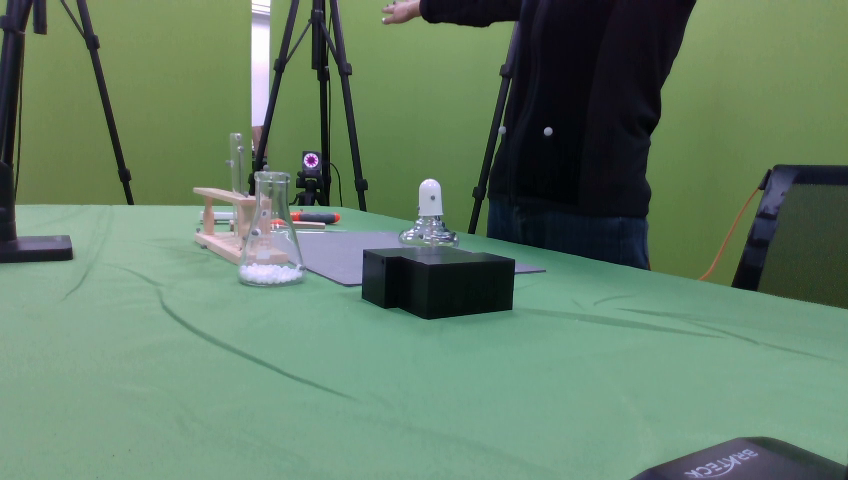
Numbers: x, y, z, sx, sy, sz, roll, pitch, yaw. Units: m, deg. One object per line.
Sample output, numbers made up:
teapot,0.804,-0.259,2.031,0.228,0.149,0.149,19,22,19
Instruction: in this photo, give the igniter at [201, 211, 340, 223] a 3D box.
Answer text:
igniter,-0.311,-0.047,1.243,0.278,0.025,0.057,-1,-2,-24

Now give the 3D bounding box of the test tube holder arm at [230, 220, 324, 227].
test tube holder arm,-0.275,-0.030,1.145,0.179,0.015,0.013,-2,45,-31

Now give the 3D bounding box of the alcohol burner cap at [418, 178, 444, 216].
alcohol burner cap,0.007,-0.053,0.745,0.034,0.048,0.034,-3,6,1

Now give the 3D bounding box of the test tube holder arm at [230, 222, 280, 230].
test tube holder arm,-0.312,-0.025,1.118,0.088,0.015,0.010,-1,44,-30

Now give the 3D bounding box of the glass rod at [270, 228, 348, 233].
glass rod,-0.234,-0.017,1.105,0.201,0.008,0.008,1,7,-26

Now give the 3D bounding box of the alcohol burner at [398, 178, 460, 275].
alcohol burner,0.007,-0.017,0.751,0.078,0.119,0.078,3,9,0

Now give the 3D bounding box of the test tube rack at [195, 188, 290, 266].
test tube rack,-0.266,-0.025,0.864,0.067,0.085,0.241,-2,9,-33

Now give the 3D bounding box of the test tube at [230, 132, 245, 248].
test tube,-0.242,-0.065,0.789,0.017,0.150,0.017,-1,7,0

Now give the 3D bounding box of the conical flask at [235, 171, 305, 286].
conical flask,-0.168,-0.014,0.663,0.075,0.122,0.075,2,7,0
